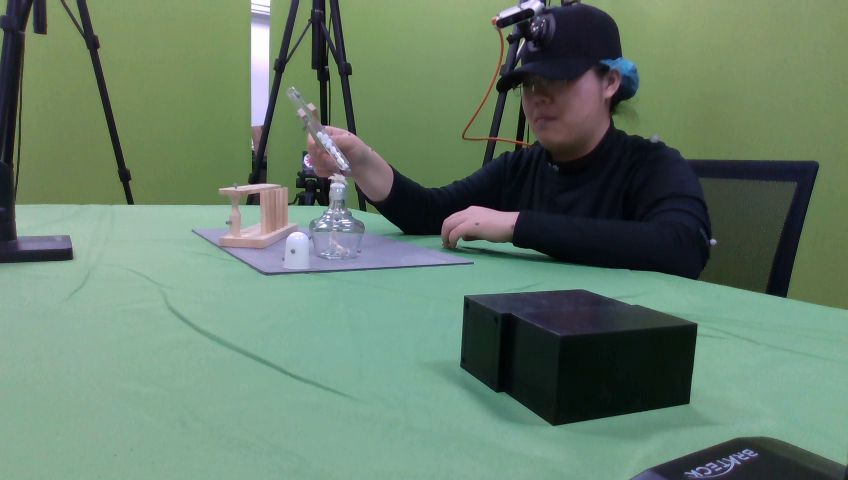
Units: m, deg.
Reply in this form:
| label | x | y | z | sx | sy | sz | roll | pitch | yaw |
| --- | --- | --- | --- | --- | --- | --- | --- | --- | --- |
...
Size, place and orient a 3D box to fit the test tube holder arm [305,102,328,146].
| label | x | y | z | sx | sy | sz | roll | pitch | yaw |
| --- | --- | --- | --- | --- | --- | --- | --- | --- | --- |
| test tube holder arm | -0.153 | -0.163 | 0.868 | 0.010 | 0.015 | 0.088 | -35 | -25 | -14 |

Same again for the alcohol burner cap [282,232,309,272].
| label | x | y | z | sx | sy | sz | roll | pitch | yaw |
| --- | --- | --- | --- | --- | --- | --- | --- | --- | --- |
| alcohol burner cap | -0.157 | 0.014 | 0.740 | 0.034 | 0.048 | 0.034 | 2 | 6 | 0 |

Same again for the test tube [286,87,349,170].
| label | x | y | z | sx | sy | sz | roll | pitch | yaw |
| --- | --- | --- | --- | --- | --- | --- | --- | --- | --- |
| test tube | -0.148 | -0.155 | 0.842 | 0.017 | 0.150 | 0.017 | -33 | -16 | -10 |

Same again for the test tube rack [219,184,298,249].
| label | x | y | z | sx | sy | sz | roll | pitch | yaw |
| --- | --- | --- | --- | --- | --- | --- | --- | --- | --- |
| test tube rack | -0.266 | -0.046 | 1.001 | 0.067 | 0.085 | 0.242 | 3 | 7 | 0 |

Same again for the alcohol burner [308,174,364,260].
| label | x | y | z | sx | sy | sz | roll | pitch | yaw |
| --- | --- | --- | --- | --- | --- | --- | --- | --- | --- |
| alcohol burner | -0.121 | -0.033 | 0.841 | 0.078 | 0.119 | 0.078 | 3 | 5 | 0 |

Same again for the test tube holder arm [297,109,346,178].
| label | x | y | z | sx | sy | sz | roll | pitch | yaw |
| --- | --- | --- | --- | --- | --- | --- | --- | --- | --- |
| test tube holder arm | -0.151 | -0.141 | 0.908 | 0.015 | 0.013 | 0.179 | 49 | -7 | 24 |
